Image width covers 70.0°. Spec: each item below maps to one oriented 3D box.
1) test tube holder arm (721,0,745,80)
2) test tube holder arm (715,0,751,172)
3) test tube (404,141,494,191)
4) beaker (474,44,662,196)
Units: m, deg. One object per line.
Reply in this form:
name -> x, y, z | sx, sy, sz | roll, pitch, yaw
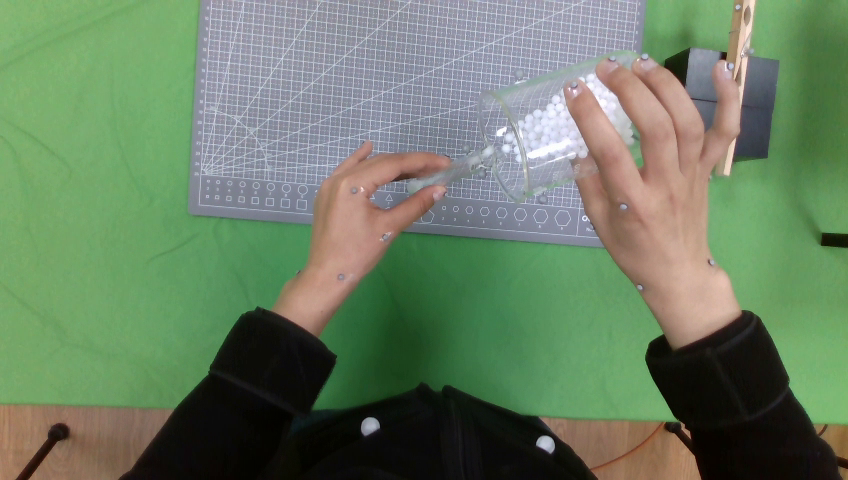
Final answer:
test tube holder arm -> 0.308, -0.203, 0.602 | 0.010, 0.015, 0.088 | 3, 94, -16
test tube holder arm -> 0.310, -0.158, 0.607 | 0.013, 0.015, 0.178 | 2, 95, -16
test tube -> 0.015, -0.057, 0.489 | 0.017, 0.149, 0.017 | 2, 86, -23
beaker -> 0.091, -0.078, 0.391 | 0.100, 0.084, 0.074 | -19, 92, -8
